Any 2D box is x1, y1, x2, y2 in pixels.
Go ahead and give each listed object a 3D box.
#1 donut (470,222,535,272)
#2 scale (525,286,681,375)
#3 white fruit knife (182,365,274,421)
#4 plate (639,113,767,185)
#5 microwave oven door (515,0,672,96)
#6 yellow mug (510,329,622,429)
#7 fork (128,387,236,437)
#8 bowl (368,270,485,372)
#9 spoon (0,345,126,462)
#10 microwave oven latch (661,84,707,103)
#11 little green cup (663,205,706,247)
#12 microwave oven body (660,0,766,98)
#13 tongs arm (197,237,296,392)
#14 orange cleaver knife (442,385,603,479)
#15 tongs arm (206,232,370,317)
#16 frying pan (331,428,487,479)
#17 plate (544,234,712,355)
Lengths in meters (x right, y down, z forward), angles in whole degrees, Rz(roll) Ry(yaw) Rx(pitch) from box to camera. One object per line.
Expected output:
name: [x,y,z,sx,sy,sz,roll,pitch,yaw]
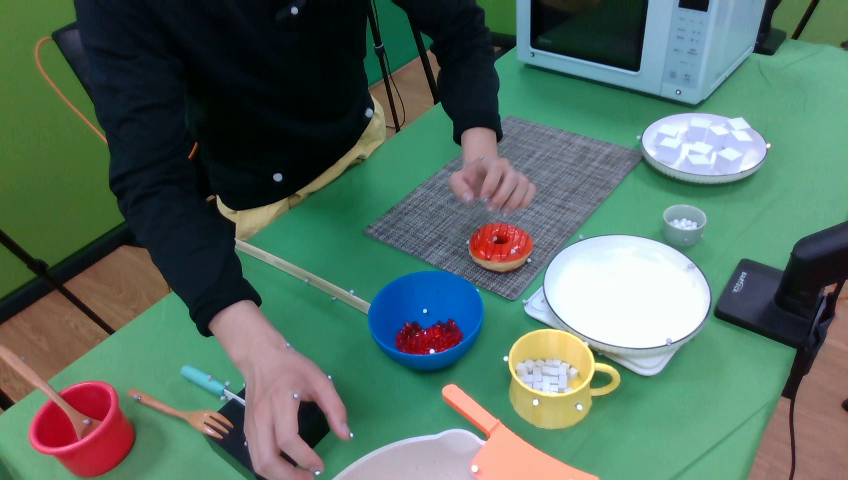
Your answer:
donut: [0.119,0.009,0.923,0.099,0.048,0.098,-4,38,4]
scale: [0.254,0.091,0.821,0.199,0.032,0.149,27,51,35]
white fruit knife: [-0.245,0.188,0.747,0.205,0.027,0.016,9,41,41]
plate: [0.489,-0.157,1.074,0.207,0.039,0.206,-4,40,4]
microwave oven door: [0.343,-0.454,1.259,0.353,0.245,0.039,26,51,33]
yellow mug: [0.168,0.164,0.721,0.130,0.064,0.099,0,40,8]
fork: [-0.305,0.207,0.744,0.206,0.019,0.028,3,40,36]
bowl: [0.007,0.118,0.791,0.151,0.077,0.150,-5,40,4]
spoon: [-0.434,0.192,0.720,0.194,0.021,0.042,47,54,-7]
microwave oven latch: [0.517,-0.296,1.204,0.078,0.029,0.030,27,52,34]
little green cup: [0.396,-0.020,0.926,0.061,0.039,0.061,-4,40,4]
microwave oven body: [0.472,-0.513,1.317,0.438,0.261,0.327,26,51,34]
tongs arm: [-0.268,0.095,0.881,0.028,0.028,0.384,-29,41,-22]
orange cleaver knife: [0.086,0.219,0.612,0.209,0.012,0.077,28,49,35]
tongs arm: [-0.207,0.058,0.925,0.381,0.026,0.051,25,47,35]
frying pan: [-0.089,0.306,0.564,0.487,0.103,0.306,10,41,7]
plate: [0.262,0.072,0.792,0.209,0.038,0.208,-4,41,4]
